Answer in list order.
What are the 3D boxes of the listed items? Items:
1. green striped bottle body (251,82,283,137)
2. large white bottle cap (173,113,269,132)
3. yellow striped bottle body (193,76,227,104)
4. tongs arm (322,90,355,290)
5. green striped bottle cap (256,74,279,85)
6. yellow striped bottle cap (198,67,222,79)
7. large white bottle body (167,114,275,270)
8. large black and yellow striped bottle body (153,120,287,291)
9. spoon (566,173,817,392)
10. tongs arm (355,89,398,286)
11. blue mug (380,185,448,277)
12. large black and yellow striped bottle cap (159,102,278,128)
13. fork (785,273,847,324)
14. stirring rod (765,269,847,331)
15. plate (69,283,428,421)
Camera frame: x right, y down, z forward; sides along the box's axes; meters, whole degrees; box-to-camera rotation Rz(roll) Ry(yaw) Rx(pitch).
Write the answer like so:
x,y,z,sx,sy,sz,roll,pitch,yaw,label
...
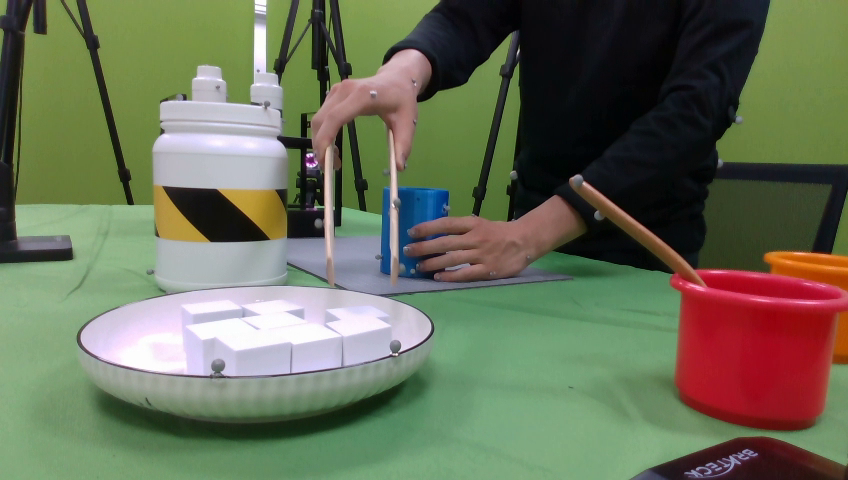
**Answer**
x,y,z,sx,sy,sz,roll,pitch,yaw,label
-0.317,-0.270,1.220,0.063,0.119,0.063,2,7,0,green striped bottle body
-0.254,-0.147,0.760,0.115,0.018,0.115,1,7,0,large white bottle cap
-0.414,-0.268,1.169,0.063,0.120,0.063,2,7,0,yellow striped bottle body
-0.080,-0.074,0.574,0.028,0.028,0.386,-6,31,-2,tongs arm
-0.314,-0.321,1.214,0.044,0.020,0.044,3,9,0,green striped bottle cap
-0.411,-0.320,1.163,0.044,0.018,0.044,0,6,0,yellow striped bottle cap
-0.257,-0.063,0.771,0.131,0.184,0.130,2,7,0,large white bottle body
-0.208,-0.043,0.626,0.131,0.184,0.130,2,7,0,large black and yellow striped bottle body
0.161,0.024,0.370,0.193,0.021,0.042,47,17,3,spoon
-0.052,-0.075,0.577,0.051,0.026,0.384,-2,31,-2,tongs arm
-0.020,-0.015,0.763,0.083,0.106,0.116,-2,8,-26,blue mug
-0.207,-0.125,0.615,0.115,0.019,0.115,2,6,0,large black and yellow striped bottle cap
0.332,0.018,0.444,0.028,0.018,0.207,-1,-35,-15,fork
0.352,0.020,0.484,0.176,0.006,0.014,-40,-6,13,stirring rod
-0.102,0.066,0.381,0.208,0.039,0.207,2,7,0,plate
